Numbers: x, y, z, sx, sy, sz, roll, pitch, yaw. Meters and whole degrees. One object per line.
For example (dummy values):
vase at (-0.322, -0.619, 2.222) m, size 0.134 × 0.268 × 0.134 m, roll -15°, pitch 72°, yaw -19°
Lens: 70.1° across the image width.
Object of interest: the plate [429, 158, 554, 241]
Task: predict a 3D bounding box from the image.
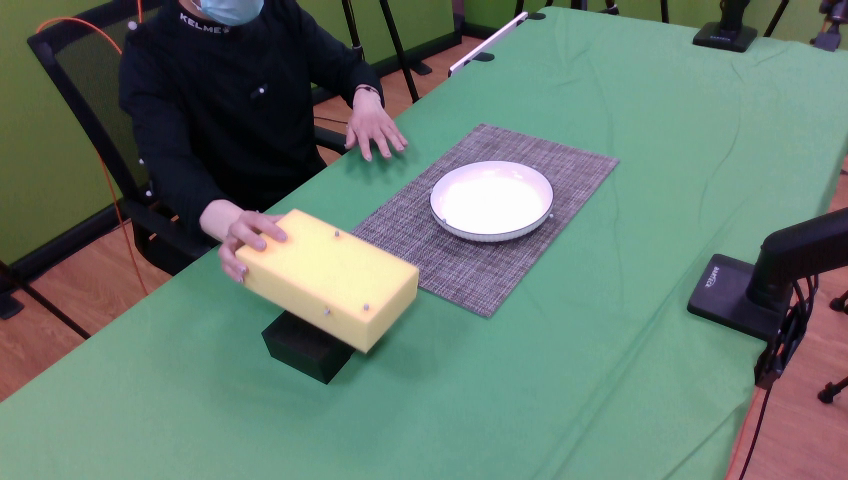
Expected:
plate at (0.112, -0.065, 1.011) m, size 0.207 × 0.039 × 0.206 m, roll -4°, pitch 41°, yaw 4°

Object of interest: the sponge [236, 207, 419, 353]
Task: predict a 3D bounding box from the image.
sponge at (-0.126, 0.047, 0.796) m, size 0.206 × 0.061 × 0.118 m, roll 25°, pitch 45°, yaw 18°
